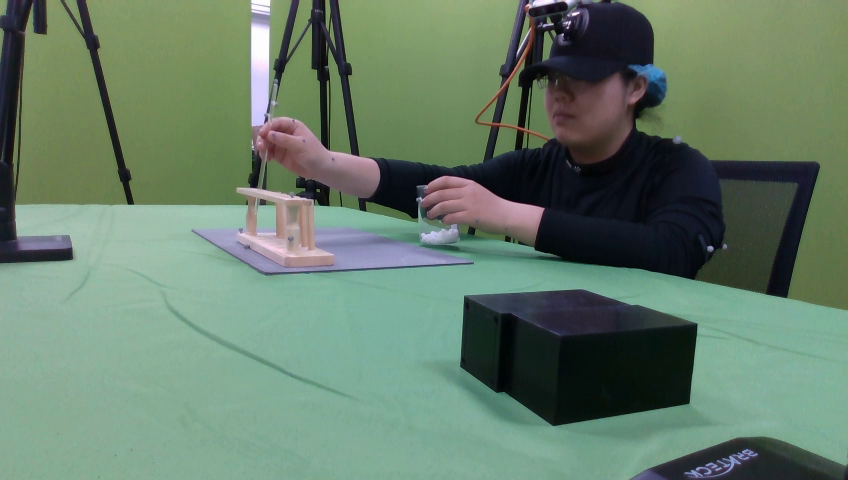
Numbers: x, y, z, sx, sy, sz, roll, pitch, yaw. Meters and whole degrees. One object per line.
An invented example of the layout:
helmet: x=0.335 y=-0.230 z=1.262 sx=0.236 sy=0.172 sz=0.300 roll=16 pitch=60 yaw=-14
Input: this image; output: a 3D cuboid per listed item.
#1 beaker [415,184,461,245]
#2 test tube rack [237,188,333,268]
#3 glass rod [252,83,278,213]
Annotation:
beaker: x=0.028 y=-0.044 z=1.014 sx=0.083 sy=0.100 sz=0.074 roll=3 pitch=8 yaw=41
test tube rack: x=-0.203 y=-0.024 z=0.854 sx=0.067 sy=0.085 sz=0.241 roll=-2 pitch=8 yaw=-30
glass rod: x=-0.240 y=-0.139 z=0.914 sx=0.008 sy=0.199 sz=0.008 roll=10 pitch=0 yaw=0
